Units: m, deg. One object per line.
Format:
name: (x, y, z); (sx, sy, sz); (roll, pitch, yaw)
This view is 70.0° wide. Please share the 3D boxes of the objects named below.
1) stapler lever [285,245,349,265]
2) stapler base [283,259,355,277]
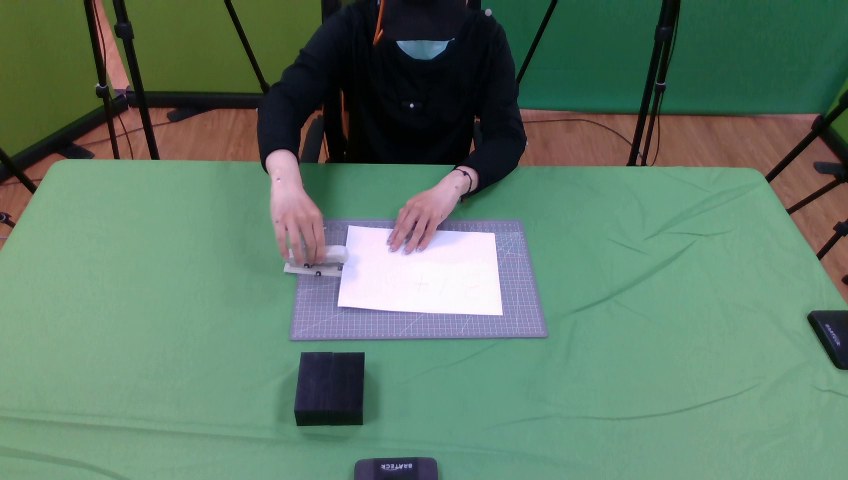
stapler lever: (-0.197, 0.026, 1.116); (0.118, 0.040, 0.026); (4, 44, 1)
stapler base: (-0.197, 0.042, 1.134); (0.130, 0.024, 0.041); (4, 44, 2)
